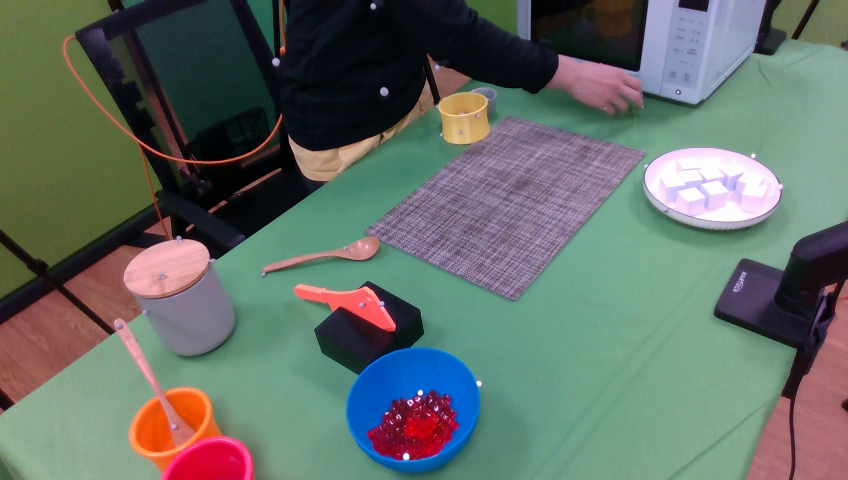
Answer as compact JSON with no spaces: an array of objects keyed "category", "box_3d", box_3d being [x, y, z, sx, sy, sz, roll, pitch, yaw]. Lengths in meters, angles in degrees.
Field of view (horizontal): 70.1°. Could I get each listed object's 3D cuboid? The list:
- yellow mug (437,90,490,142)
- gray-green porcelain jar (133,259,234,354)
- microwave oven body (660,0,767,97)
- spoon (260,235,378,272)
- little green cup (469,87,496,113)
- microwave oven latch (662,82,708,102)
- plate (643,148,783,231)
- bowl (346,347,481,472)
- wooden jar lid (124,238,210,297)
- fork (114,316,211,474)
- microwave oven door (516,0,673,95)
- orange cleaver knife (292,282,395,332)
[{"category":"yellow mug","box_3d":[0.070,-0.257,1.224,0.100,0.064,0.129,-33,43,-25]},{"category":"gray-green porcelain jar","box_3d":[-0.328,0.087,0.836,0.106,0.127,0.105,-4,41,4]},{"category":"microwave oven body","box_3d":[0.473,-0.516,1.313,0.438,0.261,0.327,26,51,34]},{"category":"spoon","box_3d":[-0.168,0.024,0.966,0.194,0.022,0.041,-10,58,-3]},{"category":"little green cup","box_3d":[0.123,-0.296,1.284,0.061,0.039,0.061,-3,37,3]},{"category":"microwave oven latch","box_3d":[0.518,-0.298,1.202,0.078,0.029,0.030,28,53,35]},{"category":"plate","box_3d":[0.464,-0.080,0.986,0.207,0.039,0.206,-4,41,4]},{"category":"bowl","box_3d":[-0.008,0.205,0.690,0.151,0.077,0.150,-4,40,4]},{"category":"wooden jar lid","box_3d":[-0.335,0.039,0.794,0.108,0.021,0.108,-2,40,2]},{"category":"fork","box_3d":[-0.309,0.179,0.708,0.028,0.018,0.207,-29,89,-24]},{"category":"microwave oven door","box_3d":[0.344,-0.458,1.256,0.353,0.245,0.039,26,51,33]},{"category":"orange cleaver knife","box_3d":[-0.116,0.091,0.835,0.209,0.077,0.012,2,32,48]}]
